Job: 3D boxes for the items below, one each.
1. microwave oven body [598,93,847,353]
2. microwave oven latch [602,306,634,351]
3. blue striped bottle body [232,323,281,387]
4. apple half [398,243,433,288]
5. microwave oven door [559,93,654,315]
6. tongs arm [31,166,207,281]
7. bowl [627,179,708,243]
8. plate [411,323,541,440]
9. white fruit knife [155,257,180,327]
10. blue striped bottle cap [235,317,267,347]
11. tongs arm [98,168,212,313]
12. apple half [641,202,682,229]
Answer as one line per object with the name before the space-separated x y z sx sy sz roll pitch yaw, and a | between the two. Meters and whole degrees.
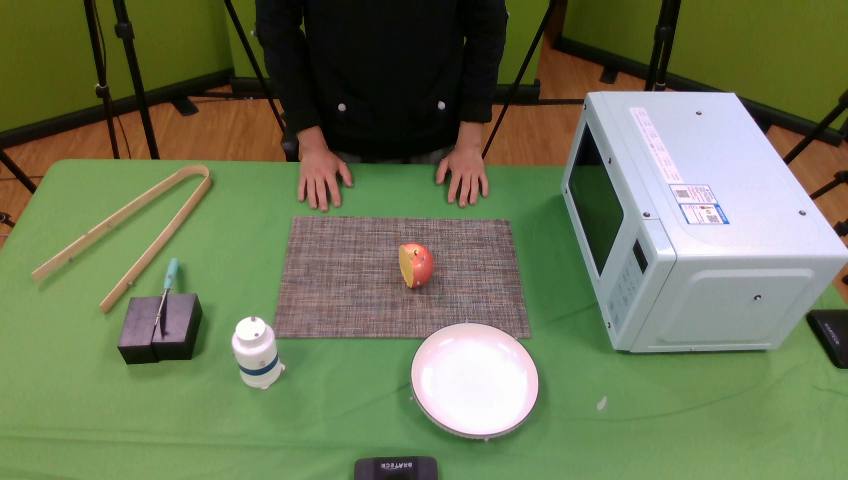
microwave oven body | 0.475 -0.041 1.110 0.326 0.261 0.438 -1 45 -4
microwave oven latch | 0.332 0.153 1.044 0.030 0.029 0.078 -1 45 -4
blue striped bottle body | -0.262 0.172 0.944 0.063 0.121 0.062 2 46 -2
apple half | -0.012 0.046 1.115 0.053 0.075 0.080 -11 44 -20
microwave oven door | 0.327 -0.074 1.123 0.039 0.245 0.353 -1 46 -5
tongs arm | -0.578 -0.040 1.184 0.050 0.026 0.384 23 48 17
bowl | 0.456 -0.047 1.168 0.151 0.077 0.150 7 36 -5
plate | 0.082 0.228 0.976 0.208 0.039 0.206 2 45 -2
white fruit knife | -0.440 0.085 1.037 0.016 0.027 0.206 10 26 -19
blue striped bottle cap | -0.259 0.137 0.907 0.044 0.021 0.044 3 43 -2
tongs arm | -0.503 -0.012 1.167 0.028 0.028 0.385 11 46 11
apple half | 0.456 -0.054 1.160 0.081 0.033 0.081 -3 33 2
